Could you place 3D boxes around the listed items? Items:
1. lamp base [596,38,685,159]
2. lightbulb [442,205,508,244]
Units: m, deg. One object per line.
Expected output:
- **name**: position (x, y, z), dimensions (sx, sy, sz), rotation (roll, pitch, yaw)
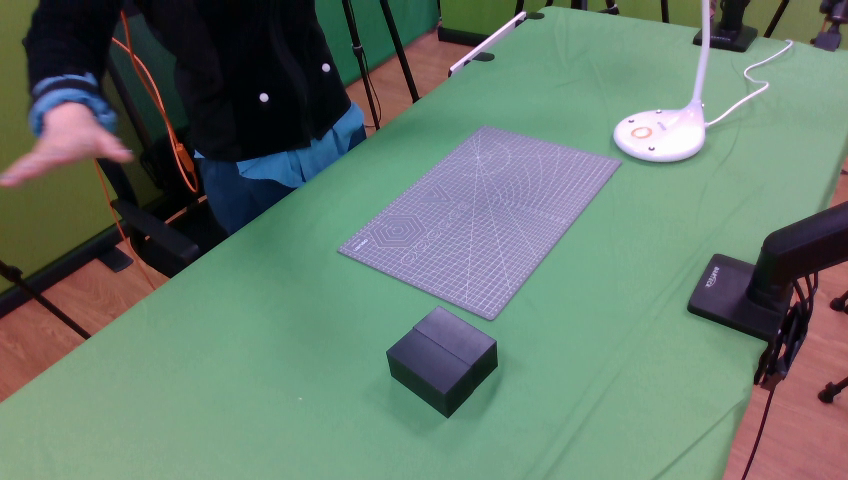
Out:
- **lamp base**: position (0.408, -0.264, 1.094), dimensions (0.180, 0.181, 0.159), rotation (-29, 45, -27)
- **lightbulb**: position (0.080, -0.019, 0.955), dimensions (0.107, 0.059, 0.059), rotation (18, 44, 5)
